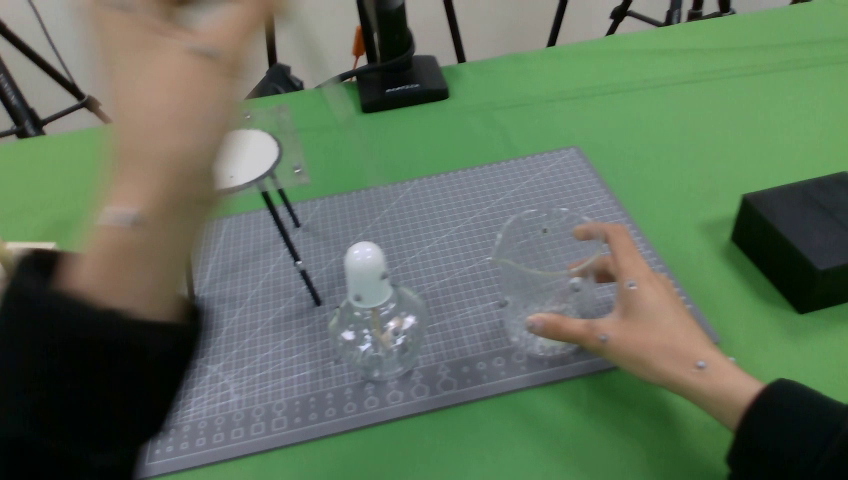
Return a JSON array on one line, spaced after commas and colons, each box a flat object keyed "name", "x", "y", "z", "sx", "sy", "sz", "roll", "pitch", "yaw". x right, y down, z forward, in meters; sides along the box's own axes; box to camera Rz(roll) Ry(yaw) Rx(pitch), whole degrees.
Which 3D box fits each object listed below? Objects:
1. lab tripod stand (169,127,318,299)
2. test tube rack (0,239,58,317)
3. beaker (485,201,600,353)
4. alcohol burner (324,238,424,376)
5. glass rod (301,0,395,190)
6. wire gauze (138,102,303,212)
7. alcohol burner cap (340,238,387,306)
[{"name": "lab tripod stand", "x": -0.160, "y": -0.019, "z": 0.536, "sx": 0.148, "sy": 0.133, "sz": 0.147, "roll": -4, "pitch": 43, "yaw": 5}, {"name": "test tube rack", "x": -0.441, "y": 0.057, "z": 0.533, "sx": 0.066, "sy": 0.086, "sz": 0.240, "roll": 1, "pitch": 42, "yaw": 10}, {"name": "beaker", "x": 0.089, "y": 0.033, "z": 0.464, "sx": 0.084, "sy": 0.101, "sz": 0.073, "roll": -14, "pitch": 41, "yaw": -6}, {"name": "alcohol burner", "x": -0.040, "y": 0.047, "z": 0.457, "sx": 0.078, "sy": 0.120, "sz": 0.077, "roll": -5, "pitch": 40, "yaw": 4}, {"name": "glass rod", "x": -0.045, "y": -0.091, "z": 0.290, "sx": 0.008, "sy": 0.202, "sz": 0.008, "roll": -9, "pitch": 52, "yaw": 11}, {"name": "wire gauze", "x": -0.167, "y": -0.069, "z": 0.491, "sx": 0.125, "sy": 0.011, "sz": 0.120, "roll": -16, "pitch": 42, "yaw": -8}, {"name": "alcohol burner cap", "x": -0.045, "y": 0.021, "z": 0.433, "sx": 0.034, "sy": 0.048, "sz": 0.033, "roll": -3, "pitch": 39, "yaw": 2}]
